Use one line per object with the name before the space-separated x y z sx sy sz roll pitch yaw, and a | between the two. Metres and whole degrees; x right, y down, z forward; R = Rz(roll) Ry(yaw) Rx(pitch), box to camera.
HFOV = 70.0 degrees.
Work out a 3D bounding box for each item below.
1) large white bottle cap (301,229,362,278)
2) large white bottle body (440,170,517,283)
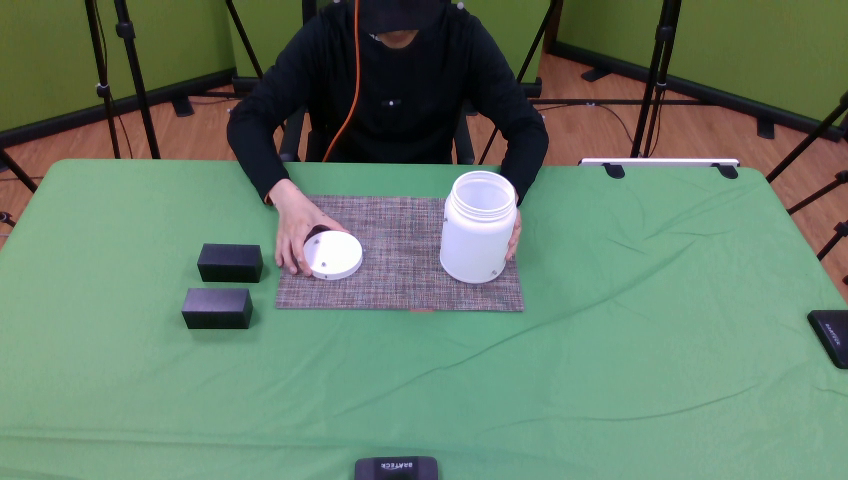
large white bottle cap | -0.175 0.025 1.156 0.115 0.018 0.114 2 47 -2
large white bottle body | 0.099 -0.025 1.110 0.131 0.185 0.130 2 47 -2
